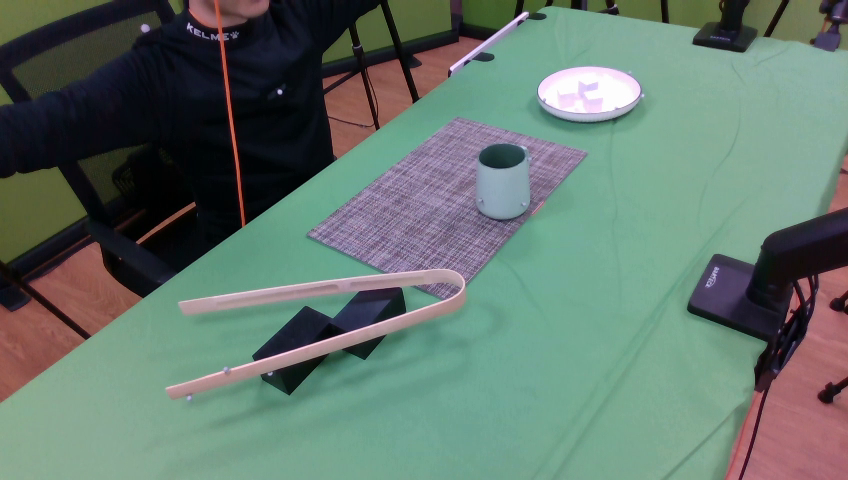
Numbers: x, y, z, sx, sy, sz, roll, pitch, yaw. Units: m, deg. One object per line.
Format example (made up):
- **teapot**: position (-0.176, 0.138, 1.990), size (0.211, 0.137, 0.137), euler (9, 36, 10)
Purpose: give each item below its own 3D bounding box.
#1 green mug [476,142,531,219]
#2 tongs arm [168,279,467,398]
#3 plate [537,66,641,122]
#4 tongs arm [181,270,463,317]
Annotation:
- **green mug**: position (0.140, -0.106, 1.002), size (0.092, 0.105, 0.125), euler (21, 48, 30)
- **tongs arm**: position (-0.124, 0.122, 0.767), size (0.386, 0.026, 0.050), euler (-15, 37, -9)
- **plate**: position (0.338, -0.299, 1.255), size (0.209, 0.038, 0.208), euler (-4, 41, 4)
- **tongs arm**: position (-0.139, 0.075, 0.827), size (0.388, 0.028, 0.028), euler (-7, 33, 1)
